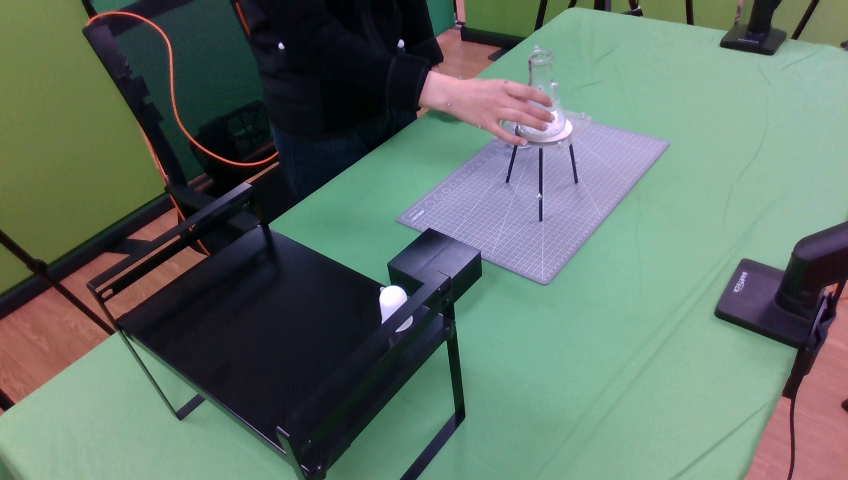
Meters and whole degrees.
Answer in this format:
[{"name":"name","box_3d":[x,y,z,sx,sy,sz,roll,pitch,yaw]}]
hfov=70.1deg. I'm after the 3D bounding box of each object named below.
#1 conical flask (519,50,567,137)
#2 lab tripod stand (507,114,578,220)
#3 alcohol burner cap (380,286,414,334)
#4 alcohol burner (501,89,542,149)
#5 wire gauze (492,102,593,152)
[{"name":"conical flask","box_3d":[0.179,-0.225,0.923,0.075,0.122,0.075,-7,41,7]},{"name":"lab tripod stand","box_3d":[0.198,-0.128,1.005,0.148,0.132,0.147,-3,42,3]},{"name":"alcohol burner cap","box_3d":[-0.029,0.067,0.605,0.034,0.048,0.033,-5,40,4]},{"name":"alcohol burner","box_3d":[0.185,-0.235,1.149,0.078,0.119,0.077,-5,42,5]},{"name":"wire gauze","box_3d":[0.190,-0.180,0.964,0.120,0.011,0.125,19,48,27]}]
